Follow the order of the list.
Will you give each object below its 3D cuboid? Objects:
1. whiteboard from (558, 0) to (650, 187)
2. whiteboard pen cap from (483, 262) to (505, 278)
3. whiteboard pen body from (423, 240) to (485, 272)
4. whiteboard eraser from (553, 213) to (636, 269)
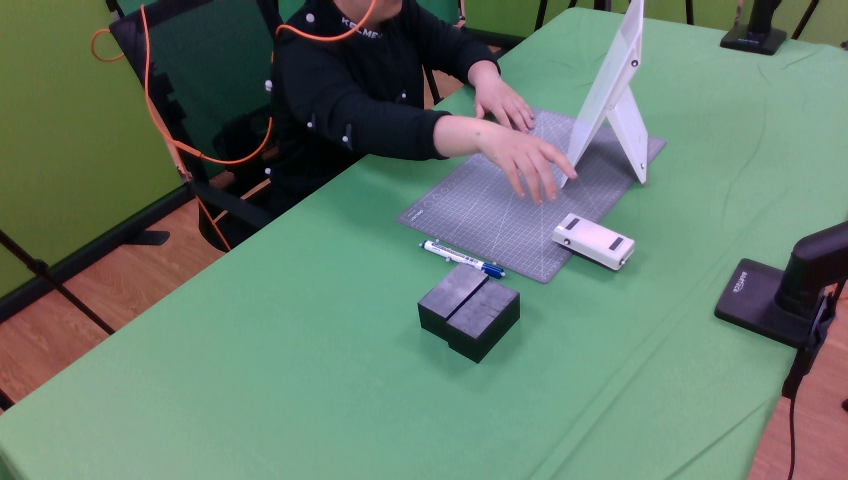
[{"bbox_3d":[0.362,-0.238,1.026,0.144,0.306,0.217,21,44,4],"label":"whiteboard"},{"bbox_3d":[0.105,0.045,0.911,0.033,0.018,0.018,22,49,28],"label":"whiteboard pen cap"},{"bbox_3d":[0.057,0.028,0.941,0.139,0.017,0.017,22,48,30],"label":"whiteboard pen body"},{"bbox_3d":[0.258,0.003,0.917,0.112,0.042,0.056,27,50,30],"label":"whiteboard eraser"}]
